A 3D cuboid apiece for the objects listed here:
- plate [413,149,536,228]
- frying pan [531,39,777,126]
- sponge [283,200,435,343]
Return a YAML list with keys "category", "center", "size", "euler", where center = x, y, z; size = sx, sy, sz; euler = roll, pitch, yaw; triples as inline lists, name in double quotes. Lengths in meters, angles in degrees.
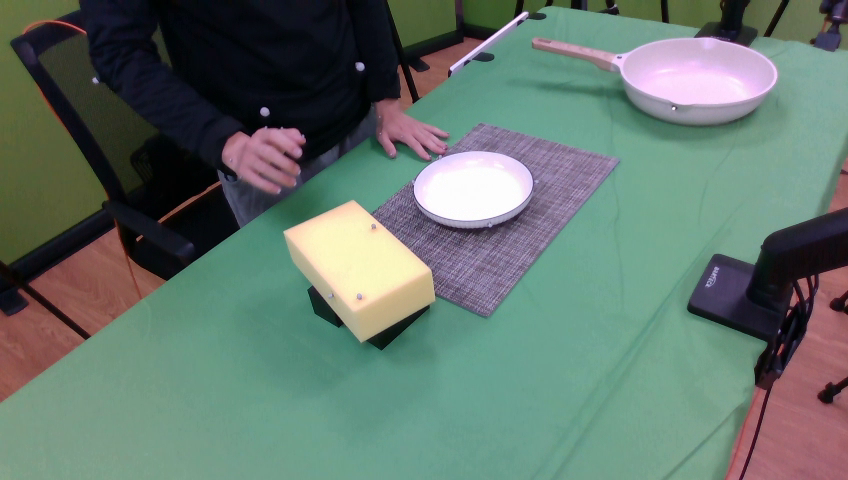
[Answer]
- category: "plate"
  center: [0.086, -0.085, 1.038]
  size: [0.207, 0.039, 0.206]
  euler: [-4, 40, 4]
- category: "frying pan"
  center: [0.452, -0.354, 1.254]
  size: [0.485, 0.103, 0.307]
  euler: [22, 47, 19]
- category: "sponge"
  center: [-0.094, 0.036, 0.835]
  size: [0.119, 0.061, 0.205]
  euler: [-29, 45, -23]
